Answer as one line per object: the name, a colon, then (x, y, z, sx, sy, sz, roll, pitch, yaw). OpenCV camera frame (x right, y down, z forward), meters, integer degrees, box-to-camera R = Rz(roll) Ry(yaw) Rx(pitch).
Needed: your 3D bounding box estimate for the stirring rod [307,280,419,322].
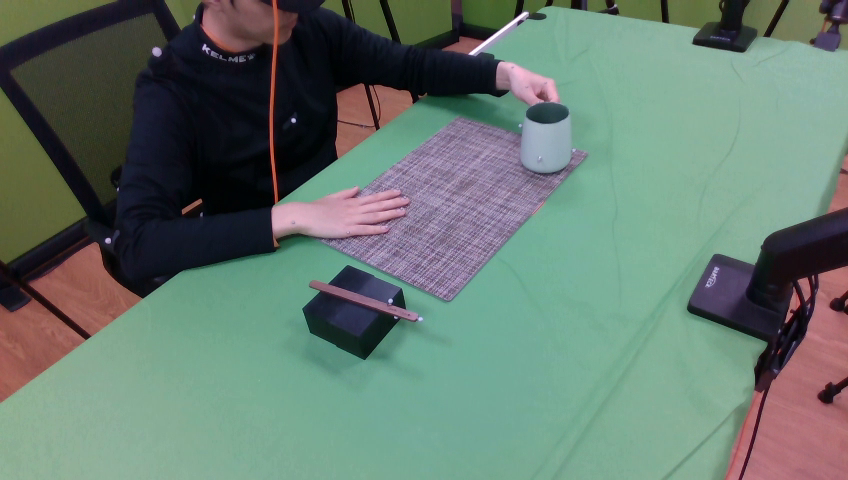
stirring rod: (-0.086, 0.082, 0.822, 0.175, 0.006, 0.014, 15, 46, 23)

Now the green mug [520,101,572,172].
green mug: (0.220, -0.194, 1.093, 0.092, 0.105, 0.125, -2, 41, 7)
